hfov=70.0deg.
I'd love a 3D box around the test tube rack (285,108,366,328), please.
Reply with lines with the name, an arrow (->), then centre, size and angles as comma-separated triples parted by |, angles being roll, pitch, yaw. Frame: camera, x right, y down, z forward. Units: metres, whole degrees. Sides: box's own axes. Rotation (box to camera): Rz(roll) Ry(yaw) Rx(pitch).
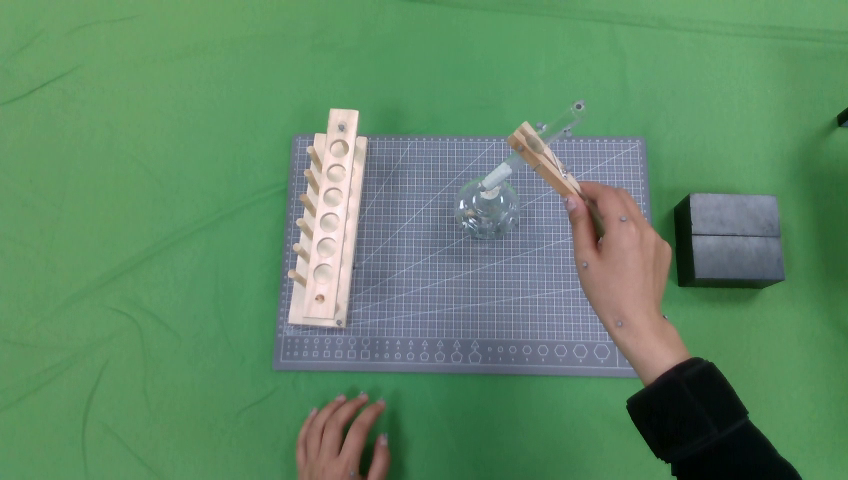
test tube rack -> -0.119, -0.025, 0.705 | 0.067, 0.085, 0.241 | 5, 76, 2

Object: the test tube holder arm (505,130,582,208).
test tube holder arm -> 0.107, -0.062, 0.535 | 0.088, 0.015, 0.010 | 42, 60, -7

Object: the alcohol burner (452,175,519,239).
alcohol burner -> 0.071, -0.043, 0.692 | 0.078, 0.119, 0.077 | 0, 76, 2

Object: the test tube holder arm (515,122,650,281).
test tube holder arm -> 0.141, -0.033, 0.541 | 0.178, 0.015, 0.013 | 48, 60, -4

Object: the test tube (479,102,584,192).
test tube -> 0.090, -0.078, 0.541 | 0.017, 0.150, 0.017 | 10, 66, -23
